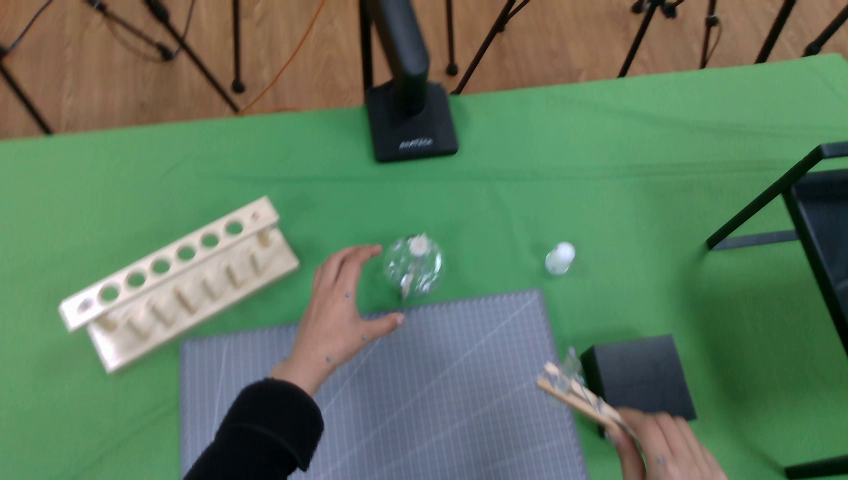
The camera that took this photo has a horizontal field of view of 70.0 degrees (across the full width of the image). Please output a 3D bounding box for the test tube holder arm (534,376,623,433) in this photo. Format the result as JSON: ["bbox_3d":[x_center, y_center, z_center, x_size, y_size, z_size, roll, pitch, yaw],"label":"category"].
[{"bbox_3d":[0.143,0.152,0.560,0.087,0.015,0.010,27,75,13],"label":"test tube holder arm"}]

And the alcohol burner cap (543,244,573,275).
[{"bbox_3d":[0.176,0.024,0.788,0.034,0.048,0.033,2,66,-3],"label":"alcohol burner cap"}]

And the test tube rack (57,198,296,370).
[{"bbox_3d":[-0.277,0.051,0.707,0.242,0.086,0.066,-30,72,-17],"label":"test tube rack"}]

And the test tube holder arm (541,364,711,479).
[{"bbox_3d":[0.184,0.170,0.550,0.177,0.015,0.013,33,77,14],"label":"test tube holder arm"}]

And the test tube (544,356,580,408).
[{"bbox_3d":[0.125,0.134,0.559,0.017,0.151,0.017,-2,64,4],"label":"test tube"}]

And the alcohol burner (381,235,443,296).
[{"bbox_3d":[-0.013,0.024,0.730,0.078,0.120,0.077,2,67,-6],"label":"alcohol burner"}]
